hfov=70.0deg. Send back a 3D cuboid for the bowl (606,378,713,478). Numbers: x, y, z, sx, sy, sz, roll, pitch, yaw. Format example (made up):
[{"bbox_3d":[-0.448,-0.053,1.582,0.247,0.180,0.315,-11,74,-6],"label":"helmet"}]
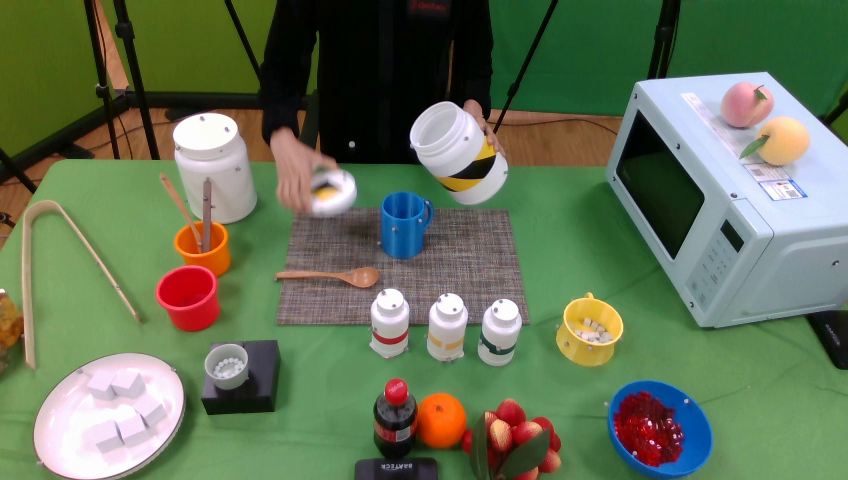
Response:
[{"bbox_3d":[0.340,0.292,0.906,0.151,0.077,0.150,2,46,-2],"label":"bowl"}]

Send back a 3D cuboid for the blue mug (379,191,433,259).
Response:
[{"bbox_3d":[-0.031,-0.035,1.167,0.116,0.106,0.082,-26,54,-27],"label":"blue mug"}]

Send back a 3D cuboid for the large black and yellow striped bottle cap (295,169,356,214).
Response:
[{"bbox_3d":[-0.186,-0.093,1.142,0.115,0.019,0.114,-6,43,6],"label":"large black and yellow striped bottle cap"}]

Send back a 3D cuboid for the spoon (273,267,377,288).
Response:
[{"bbox_3d":[-0.183,0.065,1.115,0.194,0.022,0.041,3,67,-1],"label":"spoon"}]

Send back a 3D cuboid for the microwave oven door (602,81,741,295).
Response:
[{"bbox_3d":[0.456,-0.107,1.162,0.039,0.245,0.353,-7,47,-11],"label":"microwave oven door"}]

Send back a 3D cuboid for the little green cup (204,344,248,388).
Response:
[{"bbox_3d":[-0.294,0.191,0.909,0.061,0.039,0.061,1,48,-1],"label":"little green cup"}]

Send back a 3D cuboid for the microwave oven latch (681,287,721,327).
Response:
[{"bbox_3d":[0.494,0.119,1.087,0.030,0.029,0.078,-6,46,-9],"label":"microwave oven latch"}]

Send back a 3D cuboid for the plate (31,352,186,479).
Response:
[{"bbox_3d":[-0.459,0.262,0.898,0.209,0.038,0.208,2,45,-2],"label":"plate"}]

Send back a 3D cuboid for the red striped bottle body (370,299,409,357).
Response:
[{"bbox_3d":[-0.057,0.135,0.997,0.063,0.120,0.062,2,47,-2],"label":"red striped bottle body"}]

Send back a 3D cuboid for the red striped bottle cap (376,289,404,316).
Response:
[{"bbox_3d":[-0.055,0.098,0.958,0.044,0.018,0.044,0,48,0],"label":"red striped bottle cap"}]

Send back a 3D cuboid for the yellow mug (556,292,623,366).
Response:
[{"bbox_3d":[0.285,0.145,1.051,0.100,0.064,0.130,7,45,3],"label":"yellow mug"}]

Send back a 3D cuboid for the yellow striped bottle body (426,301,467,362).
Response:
[{"bbox_3d":[0.037,0.142,0.996,0.063,0.121,0.062,2,46,-2],"label":"yellow striped bottle body"}]

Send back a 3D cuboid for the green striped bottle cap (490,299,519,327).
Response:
[{"bbox_3d":[0.128,0.115,0.958,0.044,0.020,0.044,2,47,-2],"label":"green striped bottle cap"}]

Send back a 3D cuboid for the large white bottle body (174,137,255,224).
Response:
[{"bbox_3d":[-0.409,-0.136,1.183,0.131,0.185,0.130,2,46,-2],"label":"large white bottle body"}]

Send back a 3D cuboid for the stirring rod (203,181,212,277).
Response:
[{"bbox_3d":[-0.396,-0.021,1.108,0.014,0.006,0.176,-1,89,-1],"label":"stirring rod"}]

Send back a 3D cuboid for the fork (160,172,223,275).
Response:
[{"bbox_3d":[-0.425,-0.030,1.103,0.028,0.018,0.207,-29,98,-18],"label":"fork"}]

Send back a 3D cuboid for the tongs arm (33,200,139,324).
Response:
[{"bbox_3d":[-0.622,0.034,1.105,0.051,0.026,0.382,-32,56,-26],"label":"tongs arm"}]

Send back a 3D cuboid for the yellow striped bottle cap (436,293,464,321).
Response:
[{"bbox_3d":[0.041,0.106,0.959,0.044,0.019,0.044,-1,50,1],"label":"yellow striped bottle cap"}]

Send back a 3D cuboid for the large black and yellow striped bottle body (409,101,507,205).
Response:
[{"bbox_3d":[0.064,-0.168,1.177,0.130,0.185,0.130,-21,48,26],"label":"large black and yellow striped bottle body"}]

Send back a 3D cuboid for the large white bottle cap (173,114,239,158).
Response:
[{"bbox_3d":[-0.403,-0.195,1.122,0.115,0.018,0.114,2,47,-2],"label":"large white bottle cap"}]

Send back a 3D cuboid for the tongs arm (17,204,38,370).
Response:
[{"bbox_3d":[-0.698,0.070,1.068,0.028,0.028,0.385,-20,50,-13],"label":"tongs arm"}]

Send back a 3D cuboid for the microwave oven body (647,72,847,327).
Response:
[{"bbox_3d":[0.607,-0.089,1.164,0.326,0.261,0.438,-7,46,-10],"label":"microwave oven body"}]

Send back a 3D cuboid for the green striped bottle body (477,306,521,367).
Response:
[{"bbox_3d":[0.124,0.151,0.995,0.063,0.120,0.063,2,46,-2],"label":"green striped bottle body"}]
